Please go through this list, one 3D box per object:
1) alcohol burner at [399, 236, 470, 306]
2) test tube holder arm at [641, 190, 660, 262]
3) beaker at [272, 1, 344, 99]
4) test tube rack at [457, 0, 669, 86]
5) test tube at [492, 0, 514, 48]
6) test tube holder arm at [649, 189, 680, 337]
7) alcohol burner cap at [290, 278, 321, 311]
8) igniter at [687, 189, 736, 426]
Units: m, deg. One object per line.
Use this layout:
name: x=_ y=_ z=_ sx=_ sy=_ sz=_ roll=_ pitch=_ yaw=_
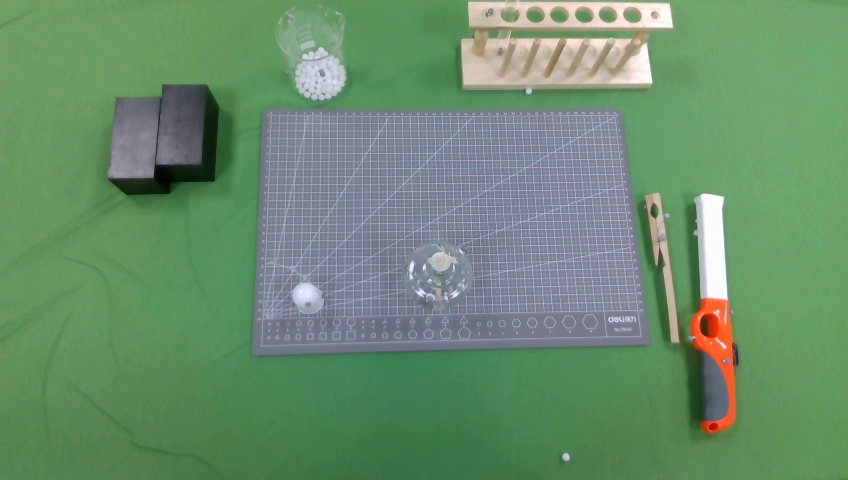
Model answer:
alcohol burner: x=0.013 y=0.029 z=0.648 sx=0.078 sy=0.119 sz=0.077 roll=1 pitch=73 yaw=-3
test tube holder arm: x=0.274 y=-0.017 z=0.730 sx=0.010 sy=0.015 sz=0.087 roll=-13 pitch=74 yaw=29
beaker: x=-0.130 y=-0.221 z=0.717 sx=0.084 sy=0.100 sz=0.073 roll=-35 pitch=79 yaw=-12
test tube rack: x=0.167 y=-0.242 z=0.747 sx=0.242 sy=0.085 sz=0.066 roll=-1 pitch=75 yaw=-4
test tube: x=0.095 y=-0.273 z=0.700 sx=0.017 sy=0.151 sz=0.017 roll=1 pitch=70 yaw=-2
test tube holder arm: x=0.283 y=0.025 z=0.716 sx=0.013 sy=0.015 sz=0.177 roll=-13 pitch=74 yaw=29
alcohol burner cap: x=-0.132 y=0.058 z=0.669 sx=0.034 sy=0.048 sz=0.033 roll=1 pitch=75 yaw=-3
igniter: x=0.331 y=0.074 z=0.703 sx=0.057 sy=0.025 sz=0.275 roll=8 pitch=75 yaw=-11
